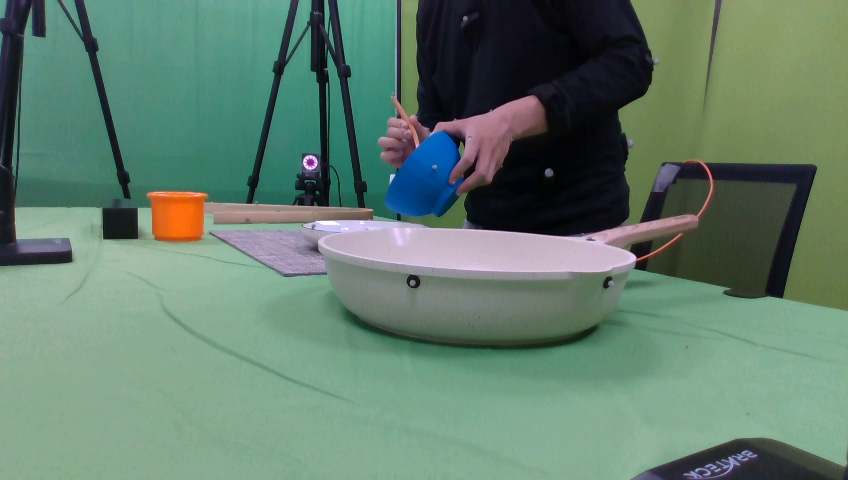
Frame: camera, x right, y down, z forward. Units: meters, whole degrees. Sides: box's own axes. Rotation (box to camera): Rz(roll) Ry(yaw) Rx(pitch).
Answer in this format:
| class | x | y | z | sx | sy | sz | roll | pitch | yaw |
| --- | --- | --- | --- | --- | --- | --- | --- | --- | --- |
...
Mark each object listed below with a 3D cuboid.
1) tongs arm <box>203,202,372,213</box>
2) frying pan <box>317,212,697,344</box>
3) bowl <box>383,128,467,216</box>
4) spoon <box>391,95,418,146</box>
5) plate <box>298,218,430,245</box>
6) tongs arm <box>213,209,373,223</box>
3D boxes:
| class | x | y | z | sx | sy | sz | roll | pitch | yaw |
| --- | --- | --- | --- | --- | --- | --- | --- | --- | --- |
| tongs arm | -0.312 | -0.068 | 1.417 | 0.387 | 0.026 | 0.050 | 1 | 8 | -24 |
| frying pan | 0.133 | 0.013 | 0.629 | 0.490 | 0.102 | 0.305 | -12 | 14 | -31 |
| bowl | 0.014 | -0.090 | 0.943 | 0.076 | 0.151 | 0.152 | 39 | 16 | 10 |
| spoon | -0.019 | -0.165 | 0.966 | 0.021 | 0.193 | 0.042 | -23 | -31 | 6 |
| plate | -0.091 | -0.006 | 0.949 | 0.208 | 0.039 | 0.207 | 2 | 7 | 0 |
| tongs arm | -0.274 | -0.054 | 1.347 | 0.390 | 0.028 | 0.028 | -3 | 6 | -37 |
